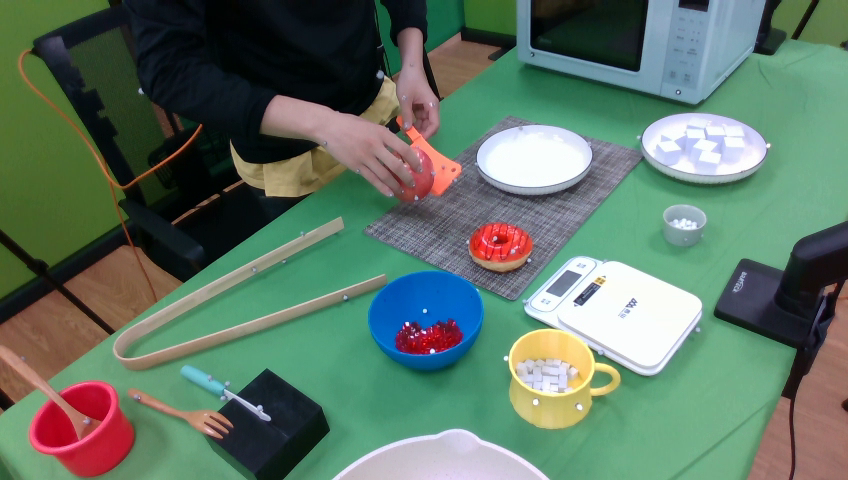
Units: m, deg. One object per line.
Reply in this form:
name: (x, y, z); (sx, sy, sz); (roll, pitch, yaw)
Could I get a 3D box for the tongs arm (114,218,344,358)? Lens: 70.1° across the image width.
tongs arm: (-0.280, 0.067, 0.926); (0.386, 0.026, 0.050); (-29, 50, -24)

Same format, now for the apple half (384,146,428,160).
apple half: (-0.027, -0.119, 0.947); (0.081, 0.081, 0.032); (-8, 50, -1)

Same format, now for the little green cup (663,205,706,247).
little green cup: (0.396, -0.020, 0.926); (0.061, 0.039, 0.061); (-4, 40, 4)

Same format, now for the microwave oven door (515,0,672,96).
microwave oven door: (0.343, -0.454, 1.259); (0.353, 0.245, 0.039); (26, 51, 33)

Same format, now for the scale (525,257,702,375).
scale: (0.254, 0.091, 0.821); (0.199, 0.032, 0.149); (28, 51, 35)

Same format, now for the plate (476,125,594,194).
plate: (0.199, -0.141, 1.093); (0.209, 0.038, 0.208); (-4, 40, 4)

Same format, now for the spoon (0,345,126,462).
spoon: (-0.434, 0.192, 0.720); (0.194, 0.021, 0.042); (47, 54, -7)

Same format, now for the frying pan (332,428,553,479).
frying pan: (-0.089, 0.306, 0.564); (0.487, 0.103, 0.306); (10, 41, 7)

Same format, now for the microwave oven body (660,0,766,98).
microwave oven body: (0.472, -0.513, 1.317); (0.438, 0.261, 0.327); (26, 51, 34)

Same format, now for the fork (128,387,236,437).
fork: (-0.305, 0.207, 0.744); (0.206, 0.019, 0.028); (3, 41, 36)

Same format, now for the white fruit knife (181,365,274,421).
white fruit knife: (-0.245, 0.187, 0.747); (0.205, 0.027, 0.016); (9, 41, 40)

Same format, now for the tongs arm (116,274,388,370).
tongs arm: (-0.236, 0.115, 0.870); (0.389, 0.028, 0.028); (-18, 50, -13)

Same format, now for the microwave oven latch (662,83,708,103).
microwave oven latch: (0.518, -0.296, 1.204); (0.078, 0.029, 0.030); (28, 52, 35)

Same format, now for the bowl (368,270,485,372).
bowl: (0.007, 0.118, 0.791); (0.151, 0.077, 0.150); (-4, 40, 4)

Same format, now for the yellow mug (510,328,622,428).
yellow mug: (0.169, 0.164, 0.722); (0.130, 0.064, 0.099); (0, 40, 8)

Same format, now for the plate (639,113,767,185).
plate: (0.489, -0.157, 1.074); (0.207, 0.039, 0.206); (-4, 40, 4)

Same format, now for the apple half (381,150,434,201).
apple half: (-0.023, -0.091, 0.920); (0.081, 0.075, 0.053); (-10, 49, 1)

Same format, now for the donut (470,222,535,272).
donut: (0.119, 0.009, 0.923); (0.099, 0.048, 0.098); (-4, 38, 4)

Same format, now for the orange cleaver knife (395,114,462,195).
orange cleaver knife: (-0.011, -0.151, 1.050); (0.077, 0.012, 0.209); (-35, 52, -5)
